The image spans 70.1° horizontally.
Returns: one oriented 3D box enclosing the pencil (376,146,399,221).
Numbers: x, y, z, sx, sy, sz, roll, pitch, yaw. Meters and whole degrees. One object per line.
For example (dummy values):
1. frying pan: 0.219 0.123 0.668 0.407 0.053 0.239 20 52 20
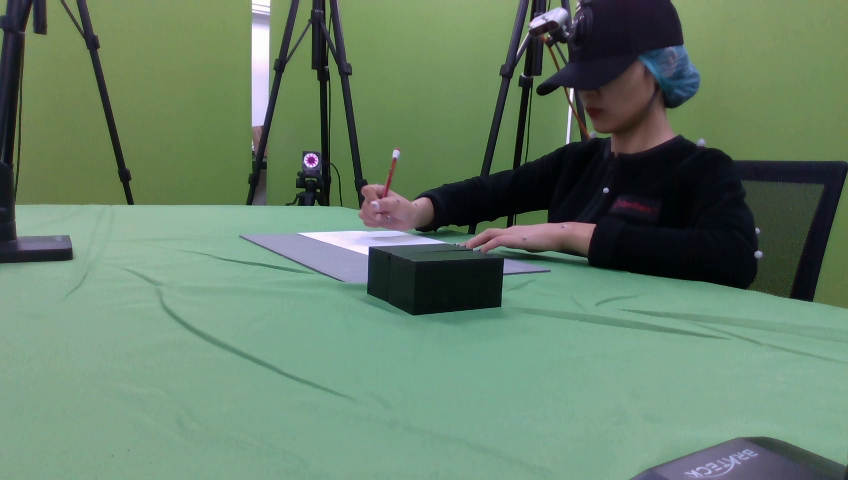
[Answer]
1. pencil: -0.064 -0.103 1.068 0.012 0.012 0.194 3 48 9
